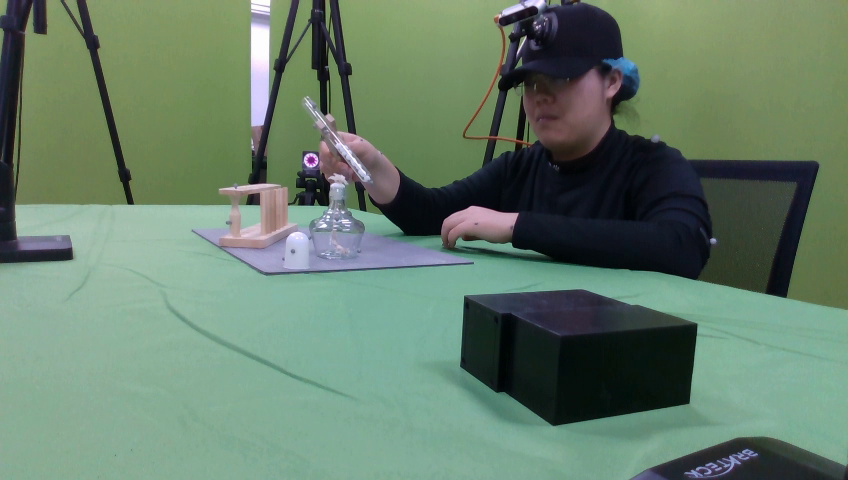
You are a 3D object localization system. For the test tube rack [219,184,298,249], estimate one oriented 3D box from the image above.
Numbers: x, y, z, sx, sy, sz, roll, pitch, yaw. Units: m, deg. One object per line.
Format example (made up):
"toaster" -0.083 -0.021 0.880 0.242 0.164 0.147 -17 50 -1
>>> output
"test tube rack" -0.266 -0.046 1.001 0.067 0.085 0.242 3 7 0

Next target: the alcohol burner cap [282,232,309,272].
"alcohol burner cap" -0.157 0.014 0.740 0.034 0.048 0.034 2 6 0

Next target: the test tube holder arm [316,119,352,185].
"test tube holder arm" -0.130 -0.125 0.892 0.013 0.015 0.178 -34 -20 -8

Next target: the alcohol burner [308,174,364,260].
"alcohol burner" -0.121 -0.033 0.841 0.078 0.119 0.078 3 5 0

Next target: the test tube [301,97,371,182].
"test tube" -0.120 -0.137 0.826 0.017 0.150 0.017 -37 -10 -8

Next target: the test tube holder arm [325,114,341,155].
"test tube holder arm" -0.127 -0.146 0.852 0.010 0.015 0.088 -32 -20 -16
